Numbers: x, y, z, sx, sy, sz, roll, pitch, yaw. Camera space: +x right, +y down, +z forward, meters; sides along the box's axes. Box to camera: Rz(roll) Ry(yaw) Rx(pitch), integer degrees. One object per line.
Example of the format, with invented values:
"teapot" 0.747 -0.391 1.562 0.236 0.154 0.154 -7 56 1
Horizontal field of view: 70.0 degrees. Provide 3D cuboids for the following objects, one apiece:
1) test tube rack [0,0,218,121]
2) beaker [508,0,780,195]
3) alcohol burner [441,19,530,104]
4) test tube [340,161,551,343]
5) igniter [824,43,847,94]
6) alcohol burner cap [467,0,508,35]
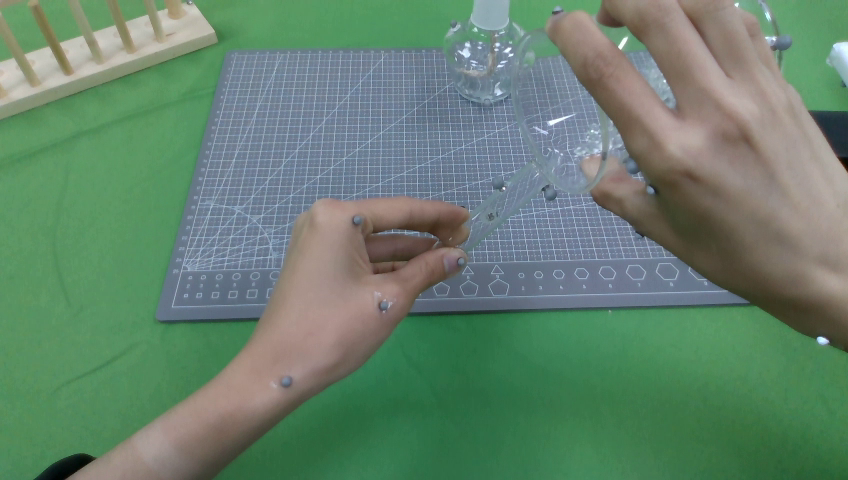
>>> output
"test tube rack" -0.323 -0.188 0.543 0.242 0.086 0.066 -27 58 -19
"beaker" 0.100 -0.071 0.280 0.100 0.084 0.073 -22 65 -13
"alcohol burner" 0.054 -0.176 0.515 0.078 0.120 0.077 1 54 -1
"test tube" 0.007 0.011 0.328 0.150 0.017 0.017 -41 53 20
"igniter" 0.346 -0.052 0.422 0.057 0.025 0.274 0 51 4
"alcohol burner cap" 0.054 -0.196 0.491 0.034 0.048 0.033 2 52 -2
